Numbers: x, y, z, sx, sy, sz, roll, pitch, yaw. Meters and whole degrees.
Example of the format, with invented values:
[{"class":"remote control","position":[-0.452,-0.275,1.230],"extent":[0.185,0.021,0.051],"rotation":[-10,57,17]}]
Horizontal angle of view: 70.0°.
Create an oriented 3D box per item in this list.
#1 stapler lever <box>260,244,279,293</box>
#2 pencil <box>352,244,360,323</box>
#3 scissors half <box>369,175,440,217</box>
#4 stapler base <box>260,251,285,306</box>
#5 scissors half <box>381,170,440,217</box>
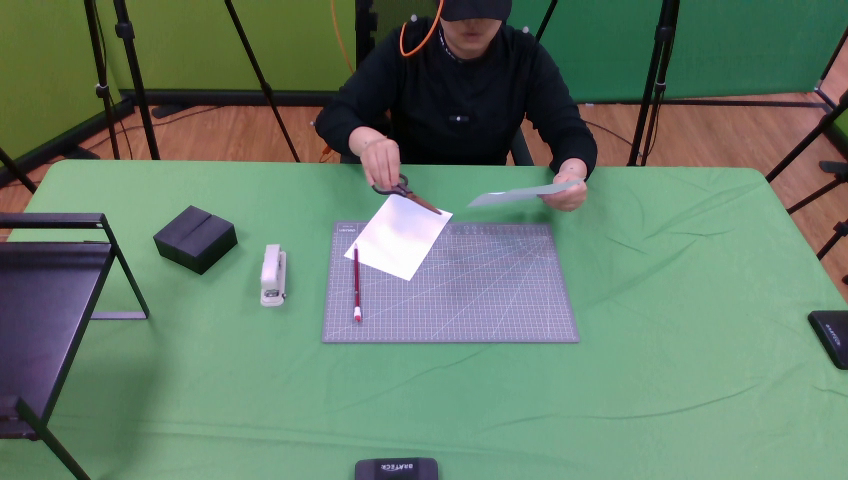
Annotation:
[{"class":"stapler lever","position":[-0.279,0.045,1.096],"extent":[0.027,0.040,0.117],"rotation":[-2,44,-9]},{"class":"pencil","position":[-0.127,0.075,1.119],"extent":[0.012,0.012,0.192],"rotation":[-3,44,-7]},{"class":"scissors half","position":[-0.039,-0.081,1.157],"extent":[0.174,0.013,0.040],"rotation":[27,50,25]},{"class":"stapler base","position":[-0.279,0.064,1.113],"extent":[0.041,0.024,0.129],"rotation":[-2,44,-9]},{"class":"scissors half","position":[-0.024,-0.090,1.168],"extent":[0.040,0.013,0.174],"rotation":[-23,48,-29]}]
